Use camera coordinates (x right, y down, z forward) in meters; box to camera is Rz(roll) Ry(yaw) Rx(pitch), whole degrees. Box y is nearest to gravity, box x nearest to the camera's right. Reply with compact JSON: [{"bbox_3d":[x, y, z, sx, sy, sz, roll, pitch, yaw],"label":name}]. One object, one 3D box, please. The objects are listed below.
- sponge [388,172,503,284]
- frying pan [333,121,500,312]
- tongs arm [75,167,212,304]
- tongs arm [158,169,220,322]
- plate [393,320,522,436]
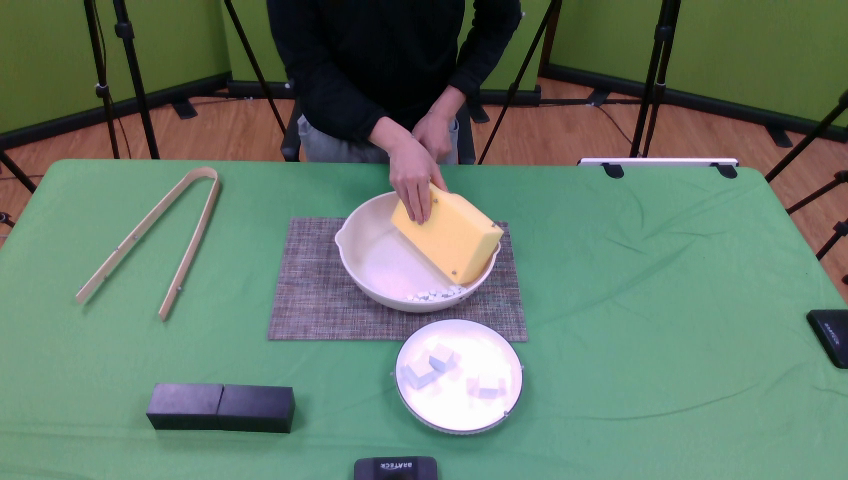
[{"bbox_3d":[0.035,-0.027,1.141,0.061,0.118,0.205,-7,41,-48],"label":"sponge"},{"bbox_3d":[-0.011,-0.063,1.195,0.307,0.103,0.485,4,55,-2],"label":"frying pan"},{"bbox_3d":[-0.525,-0.021,1.167,0.051,0.026,0.383,14,46,7],"label":"tongs arm"},{"bbox_3d":[-0.446,-0.005,1.164,0.028,0.028,0.385,2,46,0],"label":"tongs arm"},{"bbox_3d":[0.053,0.222,0.979,0.208,0.039,0.206,2,46,-2],"label":"plate"}]
